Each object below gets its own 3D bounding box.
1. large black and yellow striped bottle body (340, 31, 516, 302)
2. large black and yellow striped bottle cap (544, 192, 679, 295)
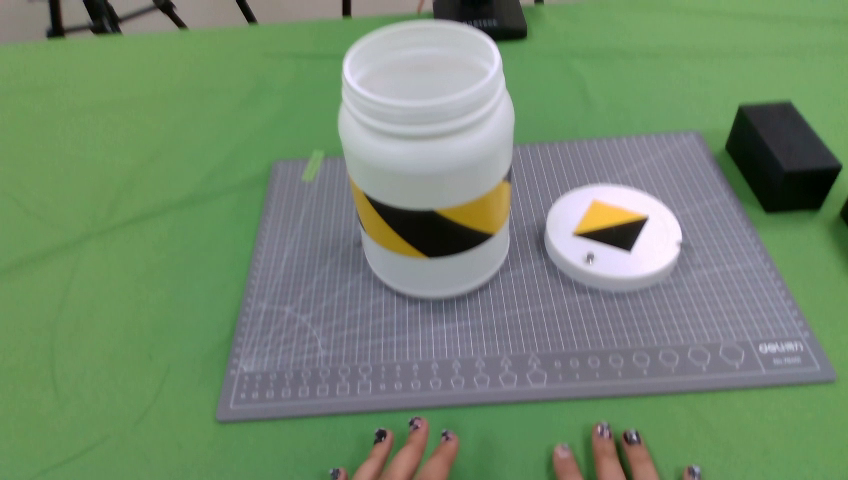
[{"bbox_3d":[0.005,-0.055,0.480,0.131,0.186,0.129,-2,46,3],"label":"large black and yellow striped bottle body"},{"bbox_3d":[0.164,0.000,0.533,0.115,0.019,0.114,-2,44,2],"label":"large black and yellow striped bottle cap"}]
